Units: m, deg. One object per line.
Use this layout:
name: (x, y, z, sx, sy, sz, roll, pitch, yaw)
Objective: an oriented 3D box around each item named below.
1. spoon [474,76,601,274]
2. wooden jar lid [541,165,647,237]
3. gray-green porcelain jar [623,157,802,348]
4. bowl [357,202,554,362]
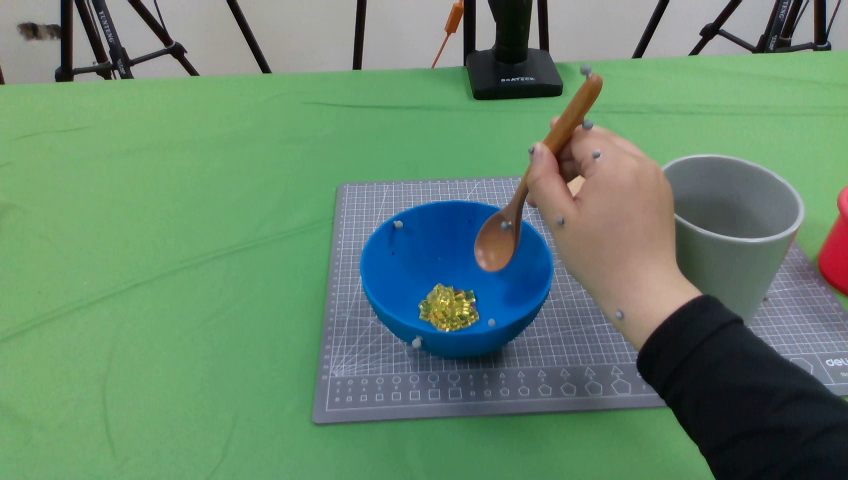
spoon: (0.071, -0.034, 0.410, 0.022, 0.195, 0.041, -11, 61, -19)
wooden jar lid: (0.175, -0.040, 0.626, 0.108, 0.021, 0.107, -1, 41, 1)
gray-green porcelain jar: (0.220, 0.015, 0.483, 0.106, 0.127, 0.105, -1, 42, 1)
bowl: (0.025, 0.046, 0.490, 0.151, 0.077, 0.150, -1, 42, 1)
